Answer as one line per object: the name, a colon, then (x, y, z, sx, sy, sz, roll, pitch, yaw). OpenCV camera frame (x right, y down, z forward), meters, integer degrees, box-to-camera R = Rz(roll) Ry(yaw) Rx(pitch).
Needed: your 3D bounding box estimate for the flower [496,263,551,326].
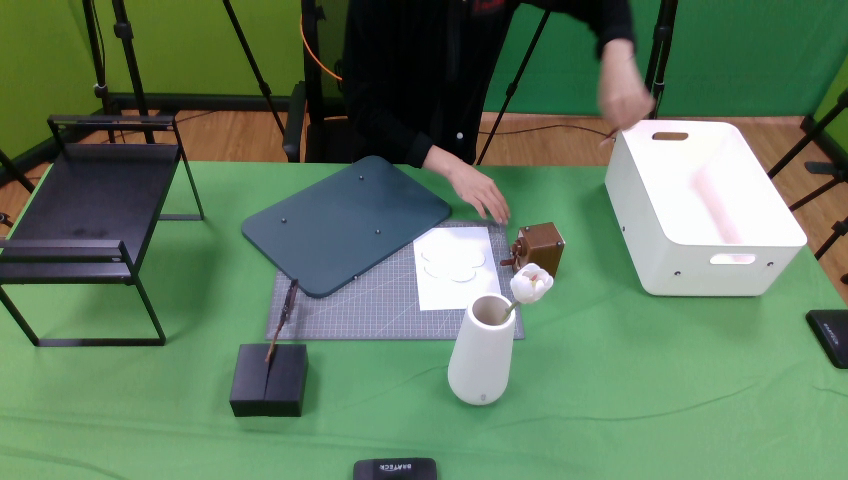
flower: (0.102, 0.120, 0.853, 0.044, 0.363, 0.038, -1, 64, -10)

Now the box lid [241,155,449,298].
box lid: (-0.157, -0.043, 1.234, 0.371, 0.015, 0.262, -34, 56, -31)

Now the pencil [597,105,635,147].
pencil: (0.357, -0.212, 1.124, 0.012, 0.012, 0.194, 28, 45, 21)

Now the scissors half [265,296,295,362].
scissors half: (-0.239, 0.143, 1.005, 0.013, 0.040, 0.174, 17, 28, -6)

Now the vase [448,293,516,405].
vase: (0.091, 0.169, 0.921, 0.098, 0.201, 0.097, 3, 47, -3)

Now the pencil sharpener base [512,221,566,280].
pencil sharpener base: (0.209, 0.026, 1.130, 0.077, 0.107, 0.061, -9, 48, -12)

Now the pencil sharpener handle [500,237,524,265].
pencil sharpener handle: (0.159, 0.024, 1.111, 0.031, 0.068, 0.035, -9, 54, -12)

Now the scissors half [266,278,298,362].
scissors half: (-0.234, 0.127, 0.993, 0.013, 0.040, 0.174, 12, 46, -4)

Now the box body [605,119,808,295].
box body: (0.529, -0.068, 1.205, 0.254, 0.161, 0.361, 1, 46, -4)
